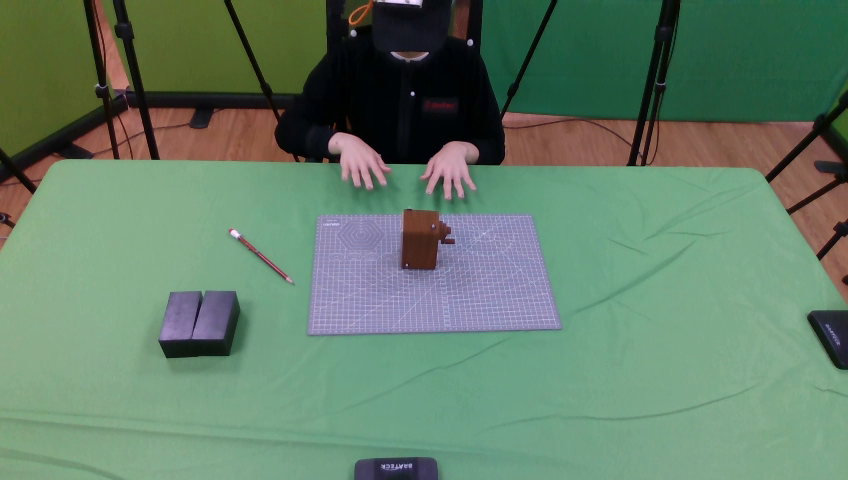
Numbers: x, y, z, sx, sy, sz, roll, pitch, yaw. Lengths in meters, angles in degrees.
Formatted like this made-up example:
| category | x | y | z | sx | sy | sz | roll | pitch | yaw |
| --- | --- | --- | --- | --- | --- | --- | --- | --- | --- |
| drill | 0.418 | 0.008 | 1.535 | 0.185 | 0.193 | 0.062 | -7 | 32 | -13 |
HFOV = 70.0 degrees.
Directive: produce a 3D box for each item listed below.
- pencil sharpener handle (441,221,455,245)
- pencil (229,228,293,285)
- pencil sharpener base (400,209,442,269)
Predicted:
| category | x | y | z | sx | sy | sz | roll | pitch | yaw |
| --- | --- | --- | --- | --- | --- | --- | --- | --- | --- |
| pencil sharpener handle | 0.046 | -0.011 | 1.130 | 0.030 | 0.068 | 0.036 | 2 | 62 | -2 |
| pencil | -0.311 | 0.031 | 1.155 | 0.193 | 0.012 | 0.012 | 36 | 54 | 25 |
| pencil sharpener base | -0.006 | 0.000 | 1.134 | 0.077 | 0.107 | 0.061 | 2 | 46 | -2 |
